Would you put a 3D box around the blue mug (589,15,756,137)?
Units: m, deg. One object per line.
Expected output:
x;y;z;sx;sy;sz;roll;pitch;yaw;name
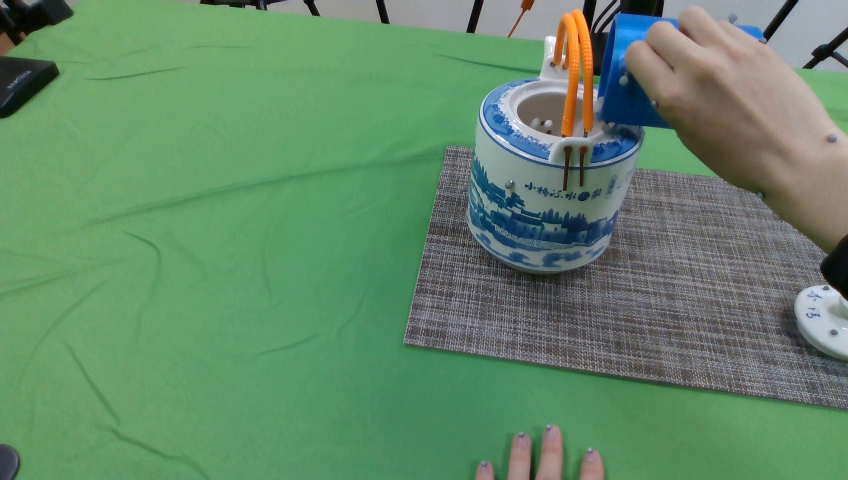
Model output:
0.186;-0.125;0.459;0.105;0.082;0.116;8;13;8;blue mug

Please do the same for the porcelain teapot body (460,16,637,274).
0.113;-0.106;0.566;0.145;0.227;0.203;2;44;-1;porcelain teapot body

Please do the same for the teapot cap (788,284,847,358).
0.369;0.067;0.536;0.085;0.044;0.084;4;43;-3;teapot cap
